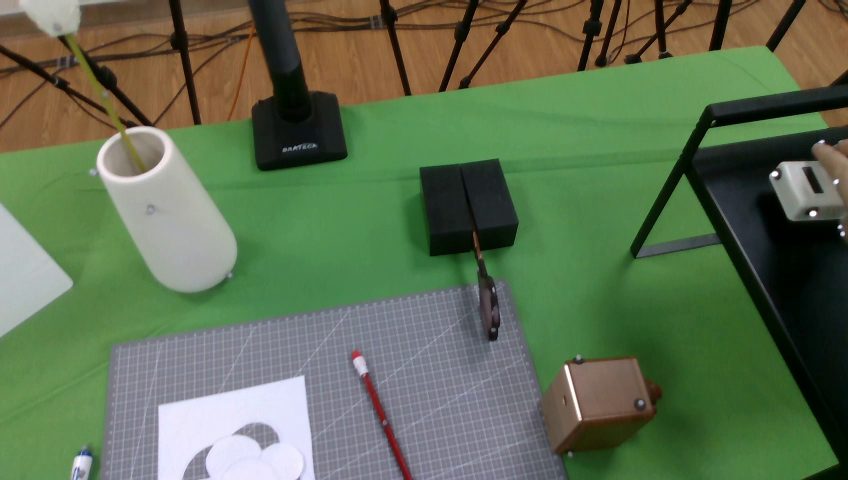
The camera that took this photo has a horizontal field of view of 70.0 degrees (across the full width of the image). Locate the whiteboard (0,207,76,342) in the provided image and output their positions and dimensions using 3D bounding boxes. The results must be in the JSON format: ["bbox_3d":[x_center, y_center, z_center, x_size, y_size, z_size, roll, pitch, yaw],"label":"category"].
[{"bbox_3d":[-0.563,-0.012,0.608,0.217,0.309,0.142,-41,47,-23],"label":"whiteboard"}]

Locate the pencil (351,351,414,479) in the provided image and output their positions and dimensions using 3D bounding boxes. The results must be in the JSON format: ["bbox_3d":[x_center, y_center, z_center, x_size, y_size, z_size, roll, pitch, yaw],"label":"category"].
[{"bbox_3d":[-0.035,0.197,0.617,0.012,0.012,0.192,-21,62,-13],"label":"pencil"}]

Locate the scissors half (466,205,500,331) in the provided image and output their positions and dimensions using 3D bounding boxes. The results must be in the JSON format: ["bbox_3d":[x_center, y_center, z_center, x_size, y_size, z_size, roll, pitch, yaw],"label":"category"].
[{"bbox_3d":[0.063,0.023,0.678,0.013,0.040,0.173,-3,48,-8],"label":"scissors half"}]

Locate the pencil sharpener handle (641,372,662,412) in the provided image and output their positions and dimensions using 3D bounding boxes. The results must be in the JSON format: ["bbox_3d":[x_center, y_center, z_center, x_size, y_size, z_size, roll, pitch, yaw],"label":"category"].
[{"bbox_3d":[0.217,0.150,0.582,0.031,0.068,0.035,-4,53,-7],"label":"pencil sharpener handle"}]

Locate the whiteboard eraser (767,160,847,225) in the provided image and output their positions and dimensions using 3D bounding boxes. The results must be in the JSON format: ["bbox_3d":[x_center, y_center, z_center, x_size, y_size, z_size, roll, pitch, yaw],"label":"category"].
[{"bbox_3d":[0.374,-0.043,0.545,0.113,0.042,0.055,-2,58,-2],"label":"whiteboard eraser"}]

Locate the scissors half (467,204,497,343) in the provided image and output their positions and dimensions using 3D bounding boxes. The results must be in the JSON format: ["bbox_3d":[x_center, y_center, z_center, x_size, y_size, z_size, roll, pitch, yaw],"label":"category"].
[{"bbox_3d":[0.063,0.034,0.695,0.013,0.040,0.174,-6,66,-3],"label":"scissors half"}]

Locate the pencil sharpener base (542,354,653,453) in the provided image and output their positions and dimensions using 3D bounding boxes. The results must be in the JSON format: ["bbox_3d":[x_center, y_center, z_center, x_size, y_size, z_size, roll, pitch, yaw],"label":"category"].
[{"bbox_3d":[0.166,0.160,0.586,0.077,0.108,0.061,-4,57,-7],"label":"pencil sharpener base"}]

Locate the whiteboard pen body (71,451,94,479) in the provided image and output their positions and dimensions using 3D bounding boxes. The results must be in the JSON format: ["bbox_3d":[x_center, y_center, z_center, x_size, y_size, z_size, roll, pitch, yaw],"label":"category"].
[{"bbox_3d":[-0.331,0.268,0.565,0.017,0.017,0.139,-3,56,-2],"label":"whiteboard pen body"}]

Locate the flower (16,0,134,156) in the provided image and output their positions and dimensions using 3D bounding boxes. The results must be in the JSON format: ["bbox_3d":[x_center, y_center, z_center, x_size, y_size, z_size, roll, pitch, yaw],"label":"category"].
[{"bbox_3d":[-0.279,-0.079,0.582,0.044,0.365,0.038,-16,41,-6],"label":"flower"}]

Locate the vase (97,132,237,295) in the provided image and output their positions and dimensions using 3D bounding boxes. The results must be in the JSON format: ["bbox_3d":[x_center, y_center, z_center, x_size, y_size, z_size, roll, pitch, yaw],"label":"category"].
[{"bbox_3d":[-0.269,-0.023,0.646,0.098,0.202,0.097,0,56,1],"label":"vase"}]
